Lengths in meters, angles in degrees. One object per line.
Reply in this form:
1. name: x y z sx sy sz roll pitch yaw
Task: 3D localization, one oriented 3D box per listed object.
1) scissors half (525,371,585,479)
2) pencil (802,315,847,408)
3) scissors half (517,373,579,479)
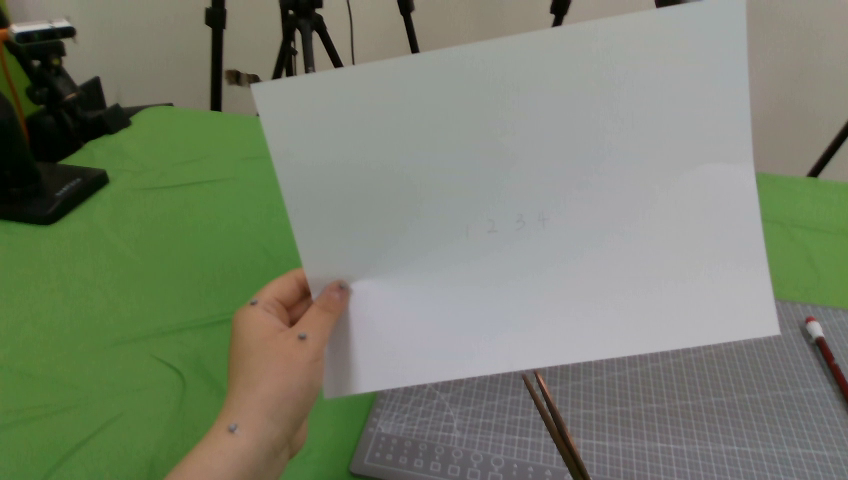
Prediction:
1. scissors half: 0.095 0.156 0.356 0.013 0.175 0.040 -24 4 -15
2. pencil: 0.364 0.133 0.523 0.012 0.012 0.192 6 36 6
3. scissors half: 0.096 0.149 0.334 0.013 0.040 0.173 -25 62 -10
